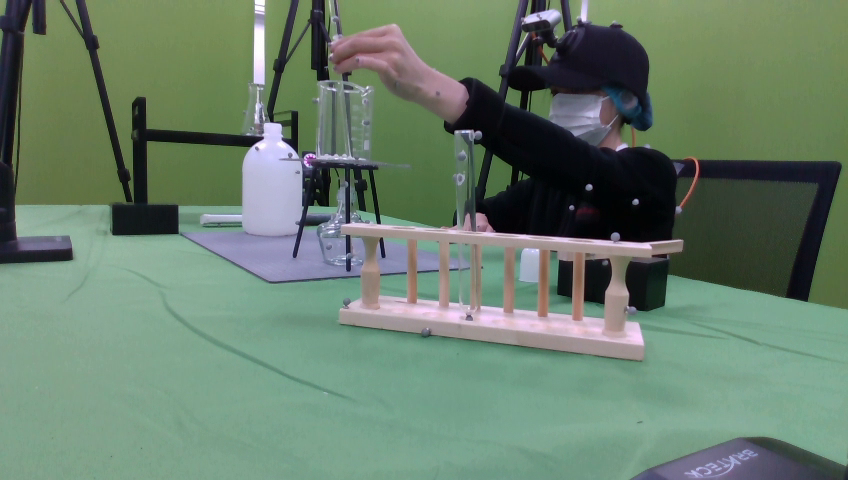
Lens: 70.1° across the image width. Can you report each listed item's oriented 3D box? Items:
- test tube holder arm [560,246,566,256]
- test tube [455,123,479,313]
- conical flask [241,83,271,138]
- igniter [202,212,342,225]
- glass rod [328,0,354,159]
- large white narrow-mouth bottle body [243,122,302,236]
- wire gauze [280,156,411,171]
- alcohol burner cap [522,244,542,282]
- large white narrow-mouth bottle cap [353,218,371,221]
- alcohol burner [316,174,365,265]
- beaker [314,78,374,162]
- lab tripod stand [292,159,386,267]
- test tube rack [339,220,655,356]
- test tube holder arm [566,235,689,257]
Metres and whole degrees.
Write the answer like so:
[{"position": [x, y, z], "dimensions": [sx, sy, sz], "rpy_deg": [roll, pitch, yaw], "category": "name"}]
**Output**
[{"position": [0.173, 0.007, 0.611], "dimensions": [0.088, 0.015, 0.010], "rpy_deg": [-3, 11, -29], "category": "test tube holder arm"}, {"position": [0.034, -0.016, 0.476], "dimensions": [0.017, 0.150, 0.017], "rpy_deg": [-2, 9, 1], "category": "test tube"}, {"position": [-0.384, -0.297, 1.393], "dimensions": [0.075, 0.122, 0.075], "rpy_deg": [2, 7, 0], "category": "conical flask"}, {"position": [-0.298, -0.043, 1.216], "dimensions": [0.278, 0.025, 0.057], "rpy_deg": [-3, -2, -32], "category": "igniter"}, {"position": [-0.101, -0.200, 0.742], "dimensions": [0.008, 0.199, 0.008], "rpy_deg": [-6, 10, 1], "category": "glass rod"}, {"position": [-0.264, -0.109, 1.061], "dimensions": [0.102, 0.194, 0.102], "rpy_deg": [2, 8, 0], "category": "large white narrow-mouth bottle body"}, {"position": [-0.103, -0.103, 0.785], "dimensions": [0.121, 0.011, 0.126], "rpy_deg": [11, 8, 42], "category": "wire gauze"}, {"position": [0.136, 0.026, 0.740], "dimensions": [0.034, 0.048, 0.034], "rpy_deg": [0, 6, 0], "category": "alcohol burner cap"}, {"position": [-0.121, -0.029, 1.184], "dimensions": [0.038, 0.024, 0.037], "rpy_deg": [2, 8, 0], "category": "large white narrow-mouth bottle cap"}, {"position": [-0.102, -0.028, 0.790], "dimensions": [0.078, 0.119, 0.078], "rpy_deg": [0, 6, 0], "category": "alcohol burner"}, {"position": [-0.101, -0.150, 0.773], "dimensions": [0.074, 0.100, 0.083], "rpy_deg": [-2, 8, -40], "category": "beaker"}, {"position": [-0.105, -0.039, 0.797], "dimensions": [0.148, 0.131, 0.148], "rpy_deg": [2, 5, 0], "category": "lab tripod stand"}, {"position": [0.056, 0.032, 0.495], "dimensions": [0.242, 0.085, 0.067], "rpy_deg": [4, 7, 15], "category": "test tube rack"}, {"position": [0.216, 0.006, 0.629], "dimensions": [0.179, 0.015, 0.013], "rpy_deg": [-3, 11, -30], "category": "test tube holder arm"}]
